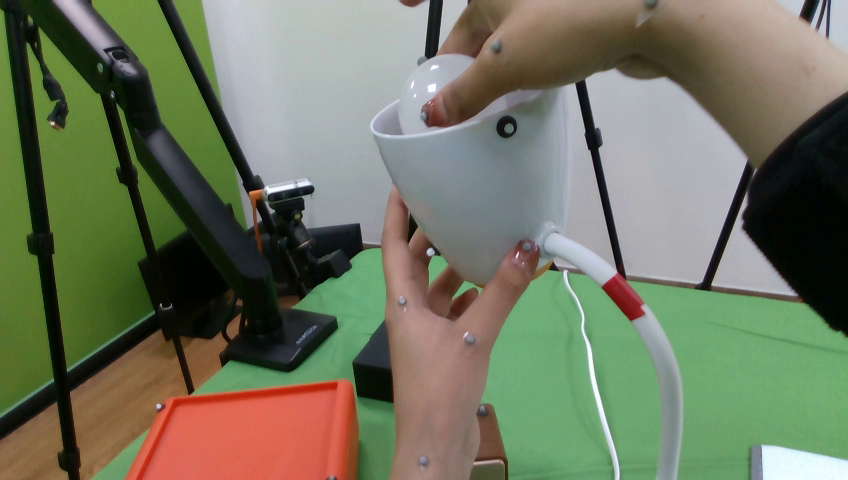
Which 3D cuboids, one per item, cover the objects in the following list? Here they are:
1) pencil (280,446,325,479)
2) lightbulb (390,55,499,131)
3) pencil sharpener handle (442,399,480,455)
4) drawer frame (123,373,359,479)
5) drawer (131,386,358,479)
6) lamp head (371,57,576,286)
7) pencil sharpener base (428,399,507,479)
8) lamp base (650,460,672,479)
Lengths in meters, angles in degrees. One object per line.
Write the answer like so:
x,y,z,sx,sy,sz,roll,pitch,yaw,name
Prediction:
-0.162,0.245,0.526,0.194,0.012,0.012,-37,38,-30,pencil
0.020,-0.051,0.344,0.059,0.108,0.059,-20,28,11,lightbulb
0.033,0.172,0.579,0.036,0.068,0.030,-1,25,-3,pencil sharpener handle
-0.166,0.226,0.555,0.202,0.083,0.212,-6,24,-2,drawer frame
-0.164,0.229,0.553,0.194,0.074,0.210,-6,24,-1,drawer
0.041,-0.033,0.357,0.112,0.124,0.111,-18,22,8,lamp head
0.038,0.204,0.538,0.061,0.108,0.076,-6,25,-1,pencil sharpener base
0.150,0.238,0.358,0.161,0.181,0.178,-8,22,-5,lamp base
